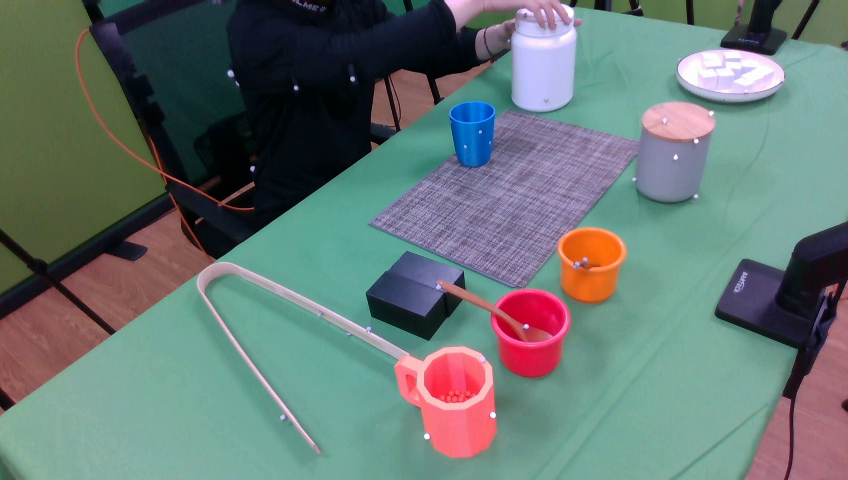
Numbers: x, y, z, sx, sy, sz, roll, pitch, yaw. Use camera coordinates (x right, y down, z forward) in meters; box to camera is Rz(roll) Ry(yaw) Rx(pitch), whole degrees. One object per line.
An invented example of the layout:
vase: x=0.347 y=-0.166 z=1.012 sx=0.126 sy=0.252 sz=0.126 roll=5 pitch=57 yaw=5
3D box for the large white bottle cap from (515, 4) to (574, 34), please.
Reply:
large white bottle cap: x=0.239 y=-0.439 z=1.197 sx=0.115 sy=0.018 sz=0.114 roll=-3 pitch=41 yaw=3

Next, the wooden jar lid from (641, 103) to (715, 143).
wooden jar lid: x=0.398 y=-0.180 z=0.952 sx=0.108 sy=0.021 sz=0.108 roll=-4 pitch=43 yaw=4

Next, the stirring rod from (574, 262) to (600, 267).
stirring rod: x=0.222 y=0.033 z=0.816 sx=0.014 sy=0.006 sz=0.177 roll=7 pitch=1 yaw=22

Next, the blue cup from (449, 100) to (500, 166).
blue cup: x=0.092 y=-0.195 z=1.123 sx=0.092 sy=0.100 sz=0.092 roll=-3 pitch=40 yaw=3

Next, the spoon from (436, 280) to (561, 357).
spoon: x=0.096 y=0.095 z=0.757 sx=0.195 sy=0.021 sz=0.041 roll=34 pitch=41 yaw=-20

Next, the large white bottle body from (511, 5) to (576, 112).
large white bottle body: x=0.247 y=-0.376 z=1.252 sx=0.130 sy=0.185 sz=0.130 roll=-4 pitch=41 yaw=4

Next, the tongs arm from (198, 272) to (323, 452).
tongs arm: x=-0.236 y=0.153 z=0.829 sx=0.028 sy=0.028 sz=0.384 roll=-36 pitch=47 yaw=-19

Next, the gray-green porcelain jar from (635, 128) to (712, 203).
gray-green porcelain jar: x=0.405 y=-0.133 z=0.992 sx=0.106 sy=0.127 sz=0.105 roll=-4 pitch=40 yaw=4

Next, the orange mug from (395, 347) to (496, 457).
orange mug: x=0.024 y=0.180 z=0.703 sx=0.125 sy=0.101 sz=0.083 roll=21 pitch=48 yaw=23

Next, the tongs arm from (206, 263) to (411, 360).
tongs arm: x=-0.179 y=0.106 z=0.870 sx=0.381 sy=0.026 sz=0.051 roll=23 pitch=53 yaw=32

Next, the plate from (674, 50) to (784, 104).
plate: x=0.631 y=-0.336 z=1.262 sx=0.207 sy=0.039 sz=0.206 roll=-4 pitch=41 yaw=4
